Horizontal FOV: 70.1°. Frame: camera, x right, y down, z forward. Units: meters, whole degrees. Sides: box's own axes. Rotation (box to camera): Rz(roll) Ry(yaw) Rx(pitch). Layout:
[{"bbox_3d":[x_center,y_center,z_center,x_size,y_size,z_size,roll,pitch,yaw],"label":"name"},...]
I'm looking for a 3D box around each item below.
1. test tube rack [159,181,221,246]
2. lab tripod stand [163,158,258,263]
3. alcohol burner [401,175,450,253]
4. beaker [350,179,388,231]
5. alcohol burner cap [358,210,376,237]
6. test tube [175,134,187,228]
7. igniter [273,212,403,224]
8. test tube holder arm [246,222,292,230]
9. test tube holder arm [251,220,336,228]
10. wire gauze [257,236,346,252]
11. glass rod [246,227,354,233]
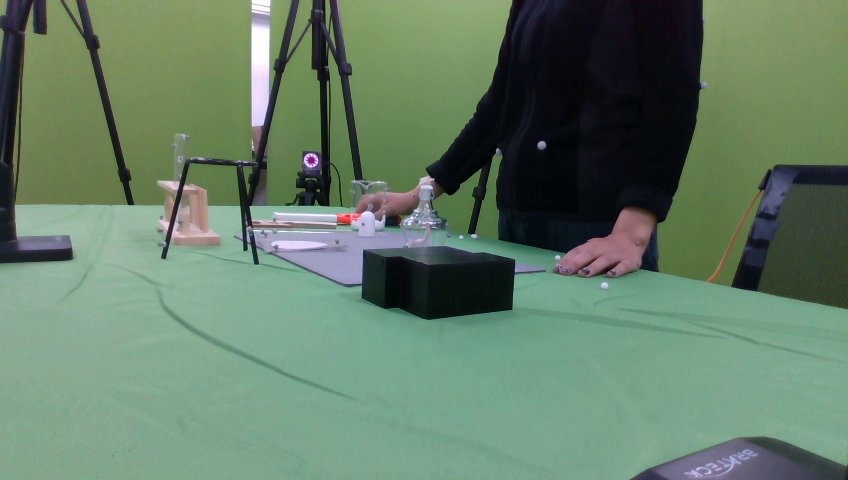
[{"bbox_3d":[-0.395,-0.050,1.010,0.067,0.085,0.241,-2,8,-28],"label":"test tube rack"},{"bbox_3d":[-0.265,-0.041,0.802,0.148,0.131,0.148,4,7,0],"label":"lab tripod stand"},{"bbox_3d":[0.003,-0.040,0.933,0.078,0.119,0.078,2,9,0],"label":"alcohol burner"},{"bbox_3d":[-0.111,-0.069,1.204,0.074,0.100,0.084,2,8,0],"label":"beaker"},{"bbox_3d":[-0.104,-0.030,1.098,0.034,0.048,0.034,3,7,0],"label":"alcohol burner cap"},{"bbox_3d":[-0.388,-0.094,0.964,0.017,0.150,0.017,1,2,0],"label":"test tube"},{"bbox_3d":[-0.177,-0.047,1.287,0.278,0.025,0.057,0,10,-25],"label":"igniter"},{"bbox_3d":[-0.291,-0.026,1.129,0.088,0.015,0.010,-1,41,-29],"label":"test tube holder arm"},{"bbox_3d":[-0.253,-0.030,1.155,0.179,0.015,0.013,-1,41,-30],"label":"test tube holder arm"},{"bbox_3d":[-0.189,0.005,0.931,0.122,0.011,0.124,1,7,-21],"label":"wire gauze"},{"bbox_3d":[-0.224,-0.017,1.109,0.201,0.008,0.008,1,7,-27],"label":"glass rod"}]
